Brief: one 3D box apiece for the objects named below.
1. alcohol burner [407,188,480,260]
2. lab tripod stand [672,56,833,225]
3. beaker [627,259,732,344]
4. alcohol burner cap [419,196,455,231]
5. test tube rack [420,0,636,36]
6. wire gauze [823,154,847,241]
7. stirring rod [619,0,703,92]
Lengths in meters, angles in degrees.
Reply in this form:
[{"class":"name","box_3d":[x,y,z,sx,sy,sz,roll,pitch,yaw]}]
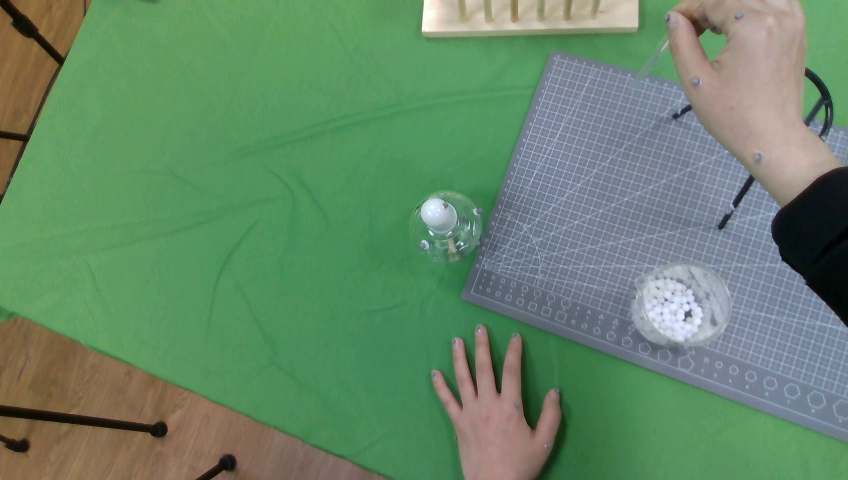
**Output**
[{"class":"alcohol burner","box_3d":[0.018,-0.021,0.620,0.078,0.120,0.077,-2,78,8]},{"class":"lab tripod stand","box_3d":[0.306,-0.097,0.569,0.148,0.132,0.148,-1,81,9]},{"class":"beaker","box_3d":[0.232,0.060,0.573,0.083,0.101,0.074,26,85,14]},{"class":"alcohol burner cap","box_3d":[0.011,-0.028,0.585,0.034,0.048,0.034,-1,84,11]},{"class":"test tube rack","box_3d":[0.111,-0.277,0.662,0.242,0.085,0.066,2,80,10]},{"class":"wire gauze","box_3d":[0.471,-0.037,0.594,0.124,0.011,0.121,24,85,10]},{"class":"stirring rod","box_3d":[0.173,-0.149,0.422,0.014,0.177,0.006,20,75,3]}]
